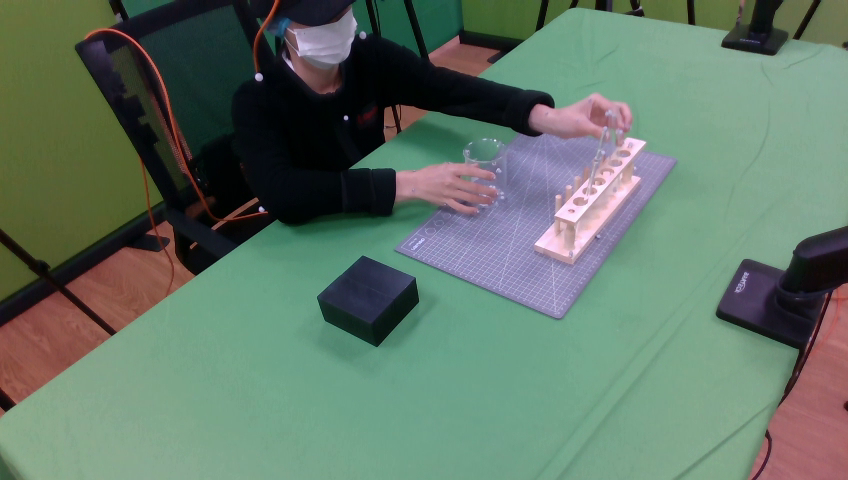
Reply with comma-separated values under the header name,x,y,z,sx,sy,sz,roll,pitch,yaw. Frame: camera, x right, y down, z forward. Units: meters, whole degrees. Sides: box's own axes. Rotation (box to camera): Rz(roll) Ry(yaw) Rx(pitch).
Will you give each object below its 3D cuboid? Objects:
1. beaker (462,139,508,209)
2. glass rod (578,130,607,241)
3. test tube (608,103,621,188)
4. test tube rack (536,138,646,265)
name,x,y,z,sx,sy,sz,roll,pitch,yaw
beaker,0.108,-0.111,1.027,0.073,0.101,0.084,25,50,33
glass rod,0.240,-0.072,0.866,0.008,0.200,0.008,0,44,1
test tube,0.294,-0.142,0.931,0.017,0.151,0.017,-10,39,9
test tube rack,0.268,-0.071,0.964,0.066,0.085,0.243,23,49,32
